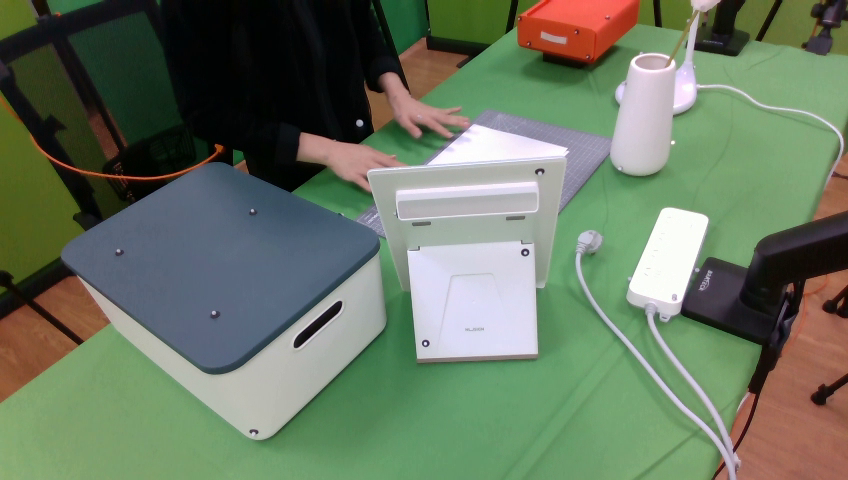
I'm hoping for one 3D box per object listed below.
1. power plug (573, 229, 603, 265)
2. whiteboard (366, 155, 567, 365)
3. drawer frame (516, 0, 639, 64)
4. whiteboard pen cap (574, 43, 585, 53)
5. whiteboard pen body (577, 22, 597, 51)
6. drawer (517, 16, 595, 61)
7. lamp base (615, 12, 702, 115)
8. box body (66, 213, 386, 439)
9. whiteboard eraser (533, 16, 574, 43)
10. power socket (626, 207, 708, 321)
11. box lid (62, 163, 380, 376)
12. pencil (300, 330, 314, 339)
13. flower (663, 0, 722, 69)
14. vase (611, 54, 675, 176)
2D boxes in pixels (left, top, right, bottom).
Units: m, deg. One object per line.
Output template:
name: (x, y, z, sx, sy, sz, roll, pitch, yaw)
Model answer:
power plug: (0.240, 0.014, 0.914, 0.072, 0.053, 0.035, -45, 54, -10)
whiteboard: (0.059, 0.049, 0.738, 0.217, 0.307, 0.143, -3, 60, 5)
drawer frame: (0.356, -0.507, 1.410, 0.200, 0.083, 0.214, 25, 51, 32)
whiteboard pen cap: (0.347, -0.429, 1.350, 0.018, 0.018, 0.033, 17, 40, 25)
whiteboard pen body: (0.373, -0.468, 1.390, 0.017, 0.017, 0.141, 14, 47, 23)
drawer: (0.353, -0.505, 1.404, 0.193, 0.073, 0.212, 25, 50, 33)
lamp base: (0.484, -0.364, 1.211, 0.180, 0.181, 0.159, -15, 41, -14)
box body: (-0.257, 0.068, 0.824, 0.361, 0.161, 0.255, 24, 49, 31)
whiteboard eraser: (0.305, -0.493, 1.422, 0.055, 0.042, 0.113, 27, 43, 25)
power socket: (0.360, 0.025, 0.886, 0.072, 0.033, 0.227, 16, 46, 26)
box lid: (-0.263, 0.012, 0.774, 0.368, 0.015, 0.264, 23, 49, 32)
pencil: (-0.204, 0.120, 0.878, 0.192, 0.012, 0.012, 17, 45, 39)
flower: (0.379, -0.261, 0.965, 0.044, 0.362, 0.038, 20, 53, 5)
vase: (0.377, -0.209, 1.031, 0.098, 0.201, 0.097, -3, 40, 3)
